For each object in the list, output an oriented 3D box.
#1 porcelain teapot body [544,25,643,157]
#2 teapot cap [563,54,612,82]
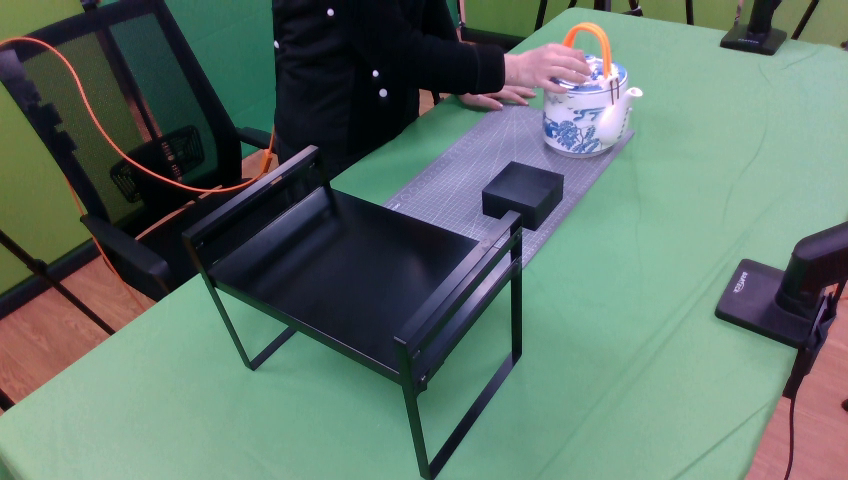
[{"bbox_3d":[0.306,-0.258,1.070,0.146,0.226,0.203,-26,44,-20],"label":"porcelain teapot body"},{"bbox_3d":[0.288,-0.303,1.065,0.085,0.044,0.085,-2,42,2],"label":"teapot cap"}]
